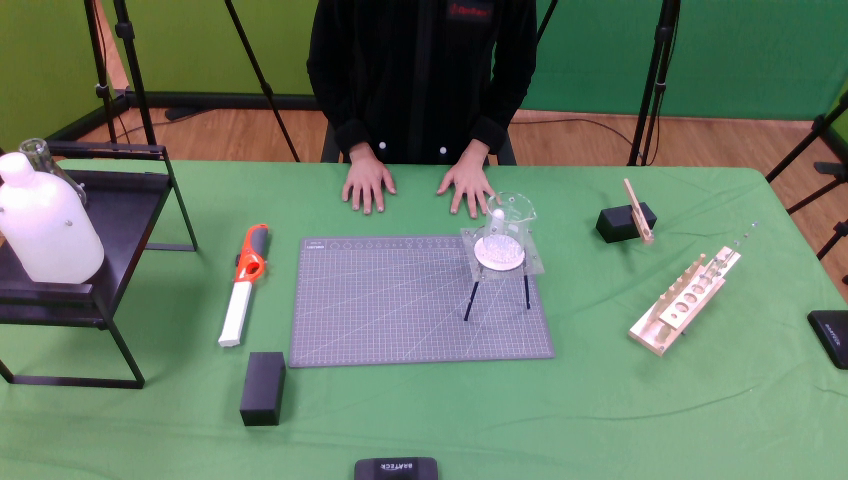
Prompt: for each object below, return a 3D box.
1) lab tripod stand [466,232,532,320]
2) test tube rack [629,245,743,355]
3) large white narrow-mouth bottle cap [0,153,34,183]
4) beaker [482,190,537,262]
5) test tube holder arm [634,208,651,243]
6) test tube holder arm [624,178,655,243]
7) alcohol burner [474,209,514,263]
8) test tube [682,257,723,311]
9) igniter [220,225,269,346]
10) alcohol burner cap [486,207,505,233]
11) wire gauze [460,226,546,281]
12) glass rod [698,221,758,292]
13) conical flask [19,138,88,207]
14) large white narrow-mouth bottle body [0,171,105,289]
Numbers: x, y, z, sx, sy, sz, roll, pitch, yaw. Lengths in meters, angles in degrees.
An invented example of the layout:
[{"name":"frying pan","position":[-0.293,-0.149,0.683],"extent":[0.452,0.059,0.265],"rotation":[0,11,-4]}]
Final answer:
[{"name":"lab tripod stand","position":[0.125,0.059,1.065],"extent":[0.148,0.132,0.147],"rotation":[1,45,0]},{"name":"test tube rack","position":[0.474,0.095,1.091],"extent":[0.242,0.085,0.066],"rotation":[-34,56,-31]},{"name":"large white narrow-mouth bottle cap","position":[-0.510,-0.090,0.755],"extent":[0.038,0.024,0.037],"rotation":[2,46,-2]},{"name":"beaker","position":[0.136,-0.019,0.983],"extent":[0.084,0.101,0.073],"rotation":[17,47,14]},{"name":"test tube holder arm","position":[0.428,-0.030,1.189],"extent":[0.010,0.015,0.087],"rotation":[1,47,-2]},{"name":"test tube holder arm","position":[0.433,-0.062,1.220],"extent":[0.013,0.015,0.177],"rotation":[0,47,-3]},{"name":"alcohol burner","position":[0.134,-0.013,1.150],"extent":[0.078,0.120,0.077],"rotation":[0,47,0]},{"name":"test tube","position":[0.475,0.080,1.037],"extent":[0.017,0.151,0.017],"rotation":[1,50,-1]},{"name":"igniter","position":[-0.323,0.072,1.100],"extent":[0.057,0.025,0.274],"rotation":[-6,46,5]},{"name":"alcohol burner cap","position":[0.135,-0.039,1.125],"extent":[0.034,0.048,0.033],"rotation":[5,41,-4]},{"name":"wire gauze","position":[0.130,0.017,1.016],"extent":[0.121,0.011,0.124],"rotation":[-4,43,-9]},{"name":"glass rod","position":[0.527,0.035,1.060],"extent":[0.008,0.200,0.008],"rotation":[5,49,-6]},{"name":"conical flask","position":[-0.576,-0.097,0.930],"extent":[0.075,0.122,0.075],"rotation":[2,46,-2]},{"name":"large white narrow-mouth bottle body","position":[-0.513,-0.029,0.818],"extent":[0.102,0.195,0.101],"rotation":[2,46,-2]}]
